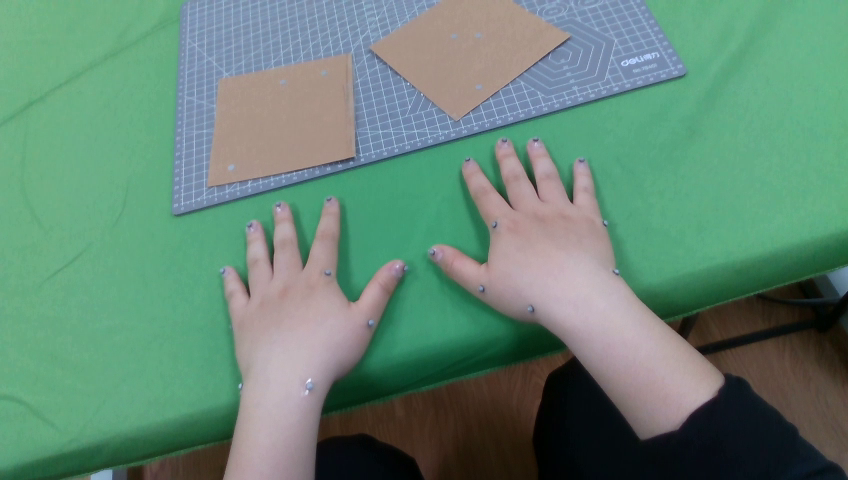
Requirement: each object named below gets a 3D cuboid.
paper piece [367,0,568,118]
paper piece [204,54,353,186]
[{"bbox_3d":[0.037,-0.184,0.562,0.135,0.004,0.134,-37,59,-12],"label":"paper piece"},{"bbox_3d":[-0.131,-0.115,0.555,0.138,0.009,0.134,-10,54,6],"label":"paper piece"}]
